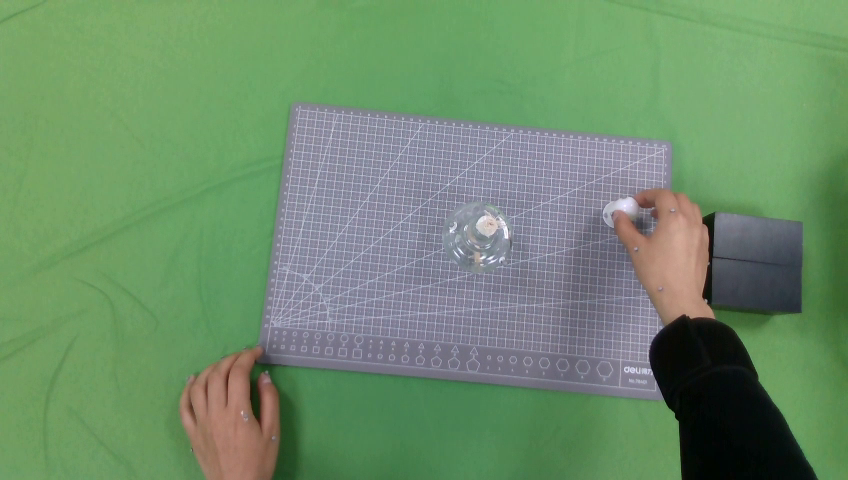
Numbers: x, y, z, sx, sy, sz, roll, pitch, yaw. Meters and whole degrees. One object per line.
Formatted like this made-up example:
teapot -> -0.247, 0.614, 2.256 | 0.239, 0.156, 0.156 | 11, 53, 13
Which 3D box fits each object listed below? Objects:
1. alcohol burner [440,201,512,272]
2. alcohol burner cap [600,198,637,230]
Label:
alcohol burner -> 0.058, -0.006, 0.635 | 0.078, 0.119, 0.077 | 1, 81, -5
alcohol burner cap -> 0.221, -0.031, 0.681 | 0.034, 0.048, 0.033 | 0, 81, -2
